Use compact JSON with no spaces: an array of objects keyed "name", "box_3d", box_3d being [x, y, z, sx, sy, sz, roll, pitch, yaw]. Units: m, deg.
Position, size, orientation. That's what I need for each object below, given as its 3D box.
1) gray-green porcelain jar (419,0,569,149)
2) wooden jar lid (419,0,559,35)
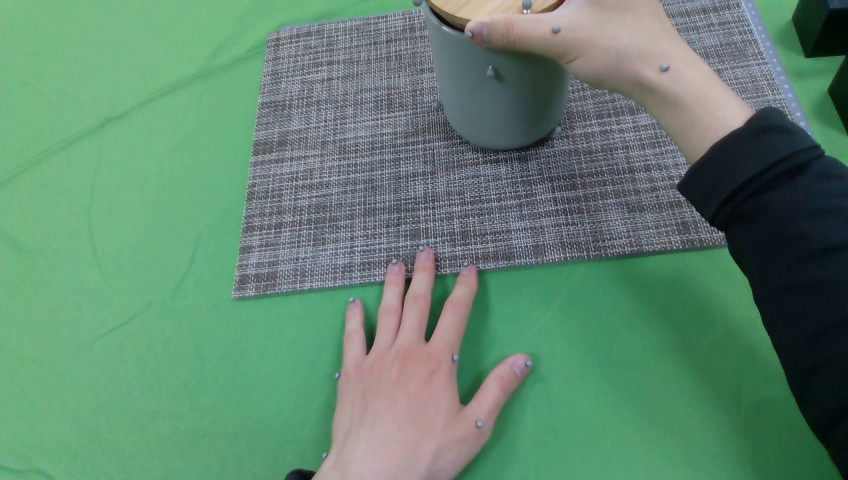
[{"name":"gray-green porcelain jar","box_3d":[0.057,-0.142,0.468,0.106,0.128,0.105,-4,59,7]},{"name":"wooden jar lid","box_3d":[0.046,-0.178,0.408,0.108,0.021,0.107,-3,64,6]}]
